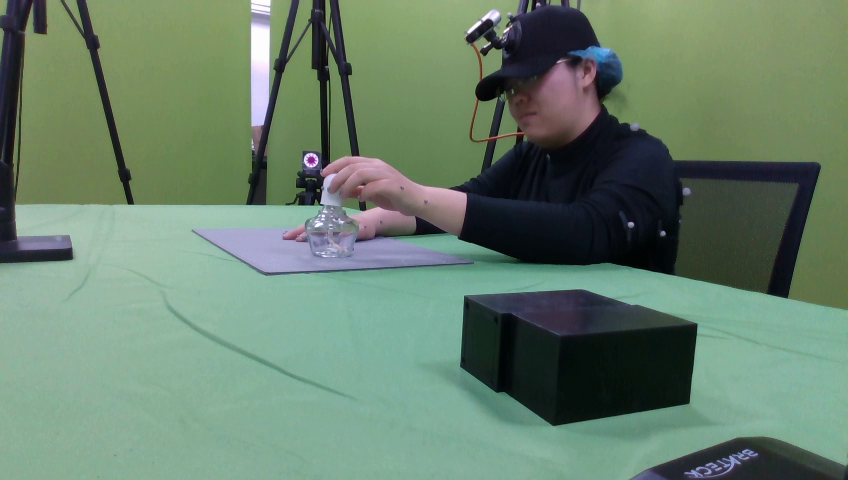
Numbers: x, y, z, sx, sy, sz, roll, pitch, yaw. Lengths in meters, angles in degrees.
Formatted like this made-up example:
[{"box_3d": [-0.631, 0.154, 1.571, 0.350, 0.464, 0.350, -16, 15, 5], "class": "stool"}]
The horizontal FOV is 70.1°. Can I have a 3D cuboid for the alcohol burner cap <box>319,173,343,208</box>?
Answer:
[{"box_3d": [-0.129, -0.070, 0.848, 0.034, 0.048, 0.034, 6, 4, 0], "class": "alcohol burner cap"}]

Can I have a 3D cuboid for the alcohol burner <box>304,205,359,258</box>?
[{"box_3d": [-0.130, -0.034, 0.852, 0.078, 0.119, 0.078, 2, 5, 0], "class": "alcohol burner"}]
